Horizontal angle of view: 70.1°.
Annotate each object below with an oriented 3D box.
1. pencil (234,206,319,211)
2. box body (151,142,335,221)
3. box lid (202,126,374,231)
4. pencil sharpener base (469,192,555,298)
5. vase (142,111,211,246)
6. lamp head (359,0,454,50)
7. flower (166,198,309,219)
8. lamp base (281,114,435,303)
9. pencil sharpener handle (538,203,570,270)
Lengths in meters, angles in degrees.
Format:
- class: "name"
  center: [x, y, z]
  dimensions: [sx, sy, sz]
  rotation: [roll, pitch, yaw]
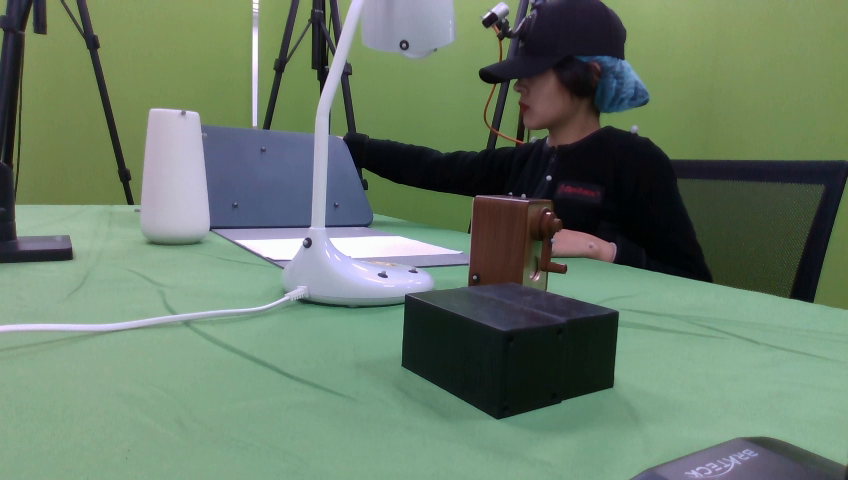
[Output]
- class: "pencil"
  center: [-0.344, -0.074, 1.417]
  dimensions: [0.195, 0.012, 0.012]
  rotation: [-1, 8, -15]
- class: "box body"
  center: [-0.413, -0.134, 1.379]
  dimensions: [0.366, 0.160, 0.253]
  rotation: [-2, 9, -31]
- class: "box lid"
  center: [-0.296, -0.127, 1.234]
  dimensions: [0.373, 0.262, 0.015]
  rotation: [-2, -35, -32]
- class: "pencil sharpener base"
  center: [0.097, 0.003, 0.652]
  dimensions: [0.076, 0.107, 0.061]
  rotation: [8, 9, 38]
- class: "vase"
  center: [-0.378, -0.093, 0.920]
  dimensions: [0.098, 0.200, 0.098]
  rotation: [2, 9, 0]
- class: "lamp head"
  center: [-0.024, -0.283, 0.674]
  dimensions: [0.112, 0.123, 0.112]
  rotation: [-3, 38, 3]
- class: "flower"
  center: [-0.399, -0.061, 1.357]
  dimensions: [0.044, 0.038, 0.364]
  rotation: [-36, -22, 32]
- class: "lamp base"
  center: [-0.071, -0.035, 0.614]
  dimensions: [0.160, 0.180, 0.180]
  rotation: [6, 10, 27]
- class: "pencil sharpener handle"
  center: [0.137, -0.003, 0.619]
  dimensions: [0.030, 0.067, 0.036]
  rotation: [8, 4, 38]
